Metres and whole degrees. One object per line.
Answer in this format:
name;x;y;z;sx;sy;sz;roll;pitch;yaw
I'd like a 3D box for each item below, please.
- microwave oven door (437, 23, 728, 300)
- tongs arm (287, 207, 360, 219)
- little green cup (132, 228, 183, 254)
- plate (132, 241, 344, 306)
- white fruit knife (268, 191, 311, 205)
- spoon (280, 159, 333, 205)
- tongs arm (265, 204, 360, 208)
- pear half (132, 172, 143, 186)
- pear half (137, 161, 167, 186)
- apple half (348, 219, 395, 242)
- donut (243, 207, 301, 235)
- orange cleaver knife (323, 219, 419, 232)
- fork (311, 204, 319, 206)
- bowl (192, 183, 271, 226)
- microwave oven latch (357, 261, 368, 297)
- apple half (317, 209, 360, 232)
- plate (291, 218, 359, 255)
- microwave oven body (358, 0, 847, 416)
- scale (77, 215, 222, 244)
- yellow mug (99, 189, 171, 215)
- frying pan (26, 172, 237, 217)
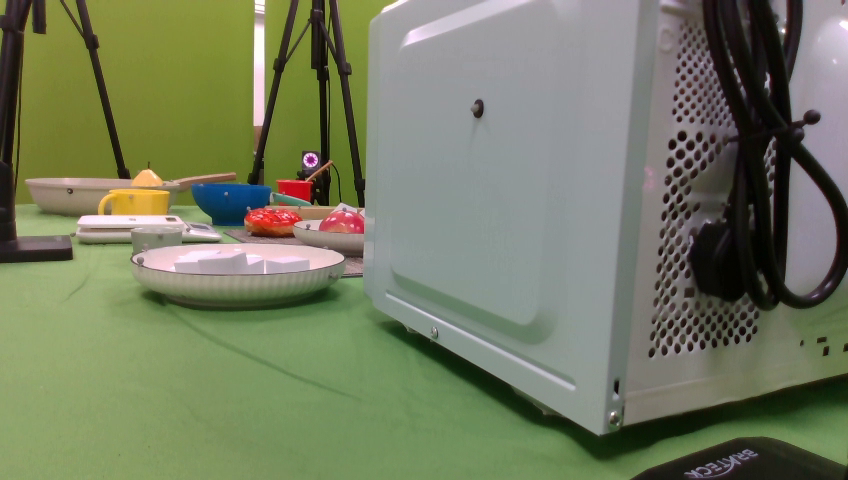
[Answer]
microwave oven door;0.181;-0.072;0.621;0.358;0.243;0.039;-2;8;-29
tongs arm;-0.172;-0.061;1.361;0.387;0.026;0.050;-1;4;-30
little green cup;-0.342;0.006;0.779;0.061;0.038;0.061;2;8;0
plate;-0.187;0.033;0.625;0.208;0.039;0.207;2;8;0
white fruit knife;-0.364;-0.105;1.464;0.208;0.027;0.016;15;0;-34
spoon;-0.316;-0.159;1.640;0.194;0.022;0.041;-50;32;-20
tongs arm;-0.208;-0.069;1.437;0.389;0.027;0.028;0;0;-16
pear half;-0.638;-0.113;1.361;0.031;0.088;0.070;5;11;4
pear half;-0.602;-0.120;1.354;0.056;0.110;0.076;4;11;6
apple half;-0.083;-0.018;0.967;0.081;0.033;0.081;5;10;-1
donut;-0.261;-0.032;1.043;0.099;0.048;0.099;4;9;0
orange cleaver knife;-0.097;-0.027;1.152;0.077;0.012;0.212;2;7;41
fork;-0.356;-0.105;1.526;0.208;0.018;0.028;16;-5;-41
bowl;-0.382;-0.071;1.202;0.151;0.077;0.151;3;7;0
microwave oven latch;-0.019;0.033;0.531;0.079;0.029;0.030;-1;7;-27
apple half;-0.122;-0.020;0.900;0.080;0.053;0.075;3;10;14
plate;-0.098;-0.007;0.928;0.209;0.038;0.209;2;8;0
microwave oven body;0.211;-0.047;0.474;0.444;0.260;0.324;-1;7;-28
scale;-0.434;-0.019;0.963;0.202;0.031;0.148;-1;9;-27
yellow mug;-0.518;-0.055;1.080;0.099;0.064;0.131;7;9;26
frying pan;-0.624;-0.118;1.387;0.305;0.102;0.490;8;17;32
